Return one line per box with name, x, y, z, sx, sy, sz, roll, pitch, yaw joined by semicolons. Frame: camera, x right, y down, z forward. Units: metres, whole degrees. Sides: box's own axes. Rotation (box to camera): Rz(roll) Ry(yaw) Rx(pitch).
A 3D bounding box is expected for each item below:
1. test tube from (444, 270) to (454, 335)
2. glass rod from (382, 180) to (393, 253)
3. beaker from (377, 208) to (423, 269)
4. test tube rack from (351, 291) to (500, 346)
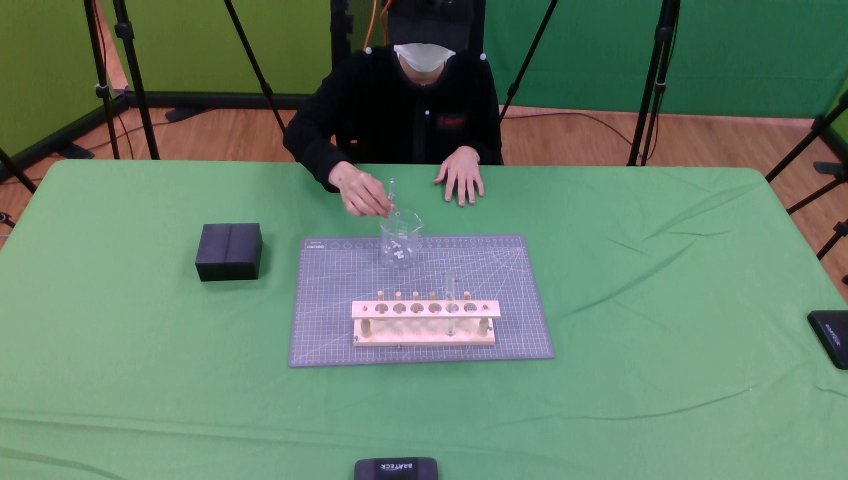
test tube;0.041;0.105;0.983;0.017;0.151;0.017;-1;44;1
glass rod;-0.066;-0.037;1.095;0.008;0.200;0.008;4;51;-5
beaker;-0.046;0.000;1.138;0.084;0.101;0.073;3;46;-3
test tube rack;0.000;0.129;1.026;0.242;0.085;0.066;0;46;-4
